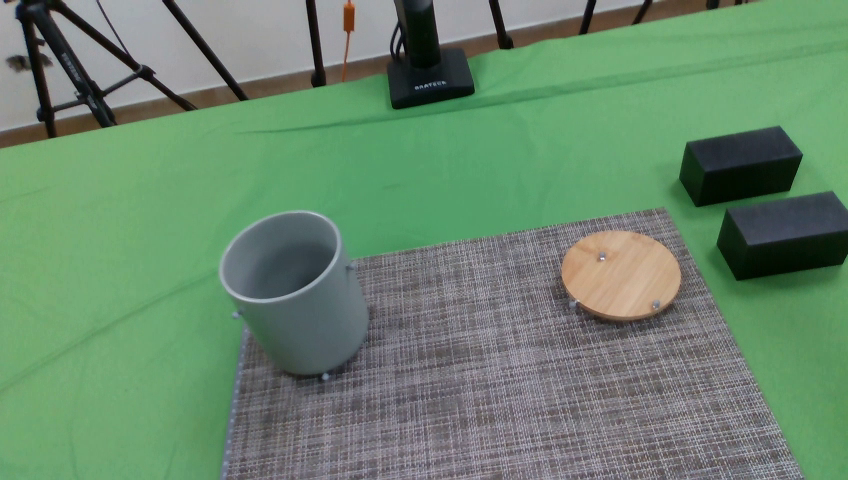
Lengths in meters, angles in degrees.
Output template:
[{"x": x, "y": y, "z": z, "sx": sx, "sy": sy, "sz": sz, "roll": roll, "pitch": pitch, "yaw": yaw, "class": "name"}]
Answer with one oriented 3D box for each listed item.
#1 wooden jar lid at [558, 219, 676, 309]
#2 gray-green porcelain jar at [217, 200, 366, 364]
[{"x": 0.185, "y": 0.024, "z": 0.584, "sx": 0.108, "sy": 0.021, "sz": 0.107, "roll": -6, "pitch": 49, "yaw": 7, "class": "wooden jar lid"}, {"x": -0.113, "y": 0.044, "z": 0.554, "sx": 0.106, "sy": 0.128, "sz": 0.105, "roll": -6, "pitch": 48, "yaw": 6, "class": "gray-green porcelain jar"}]
